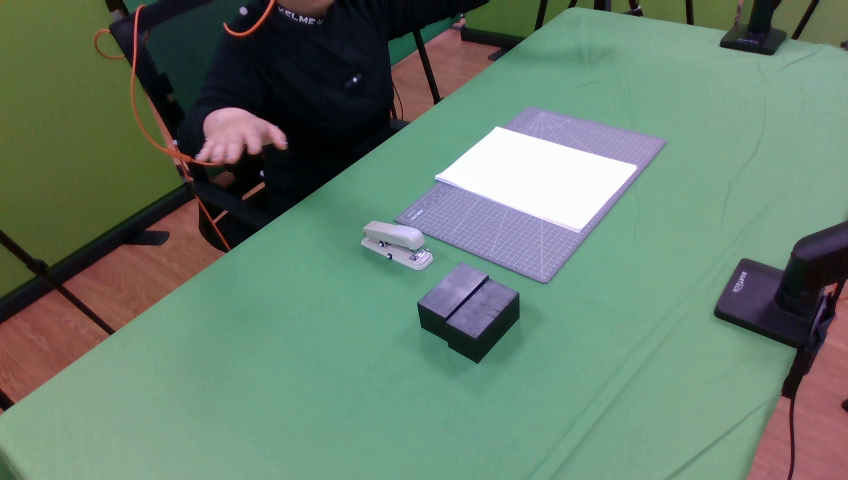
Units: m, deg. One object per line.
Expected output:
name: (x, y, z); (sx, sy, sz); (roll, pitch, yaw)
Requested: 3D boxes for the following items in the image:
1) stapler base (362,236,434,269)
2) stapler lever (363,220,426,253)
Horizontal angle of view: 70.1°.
stapler base: (-0.044, 0.008, 0.974); (0.129, 0.024, 0.041); (21, 47, 32)
stapler lever: (-0.048, -0.011, 0.958); (0.117, 0.040, 0.027); (21, 47, 32)
